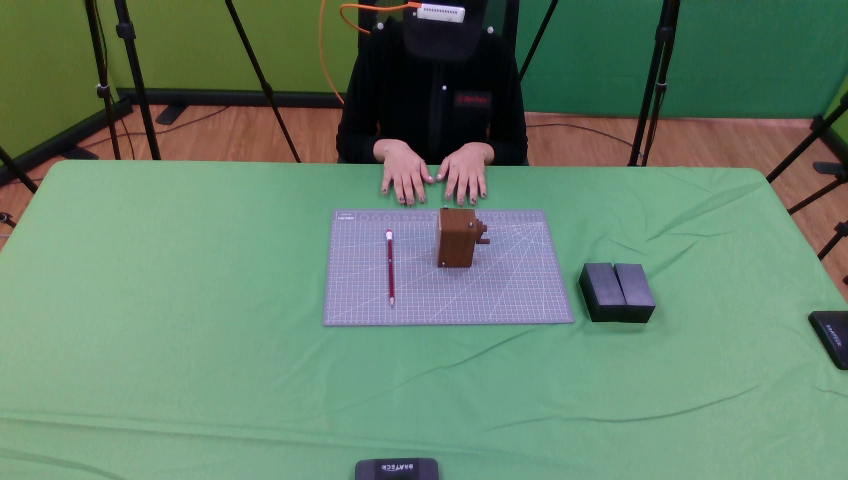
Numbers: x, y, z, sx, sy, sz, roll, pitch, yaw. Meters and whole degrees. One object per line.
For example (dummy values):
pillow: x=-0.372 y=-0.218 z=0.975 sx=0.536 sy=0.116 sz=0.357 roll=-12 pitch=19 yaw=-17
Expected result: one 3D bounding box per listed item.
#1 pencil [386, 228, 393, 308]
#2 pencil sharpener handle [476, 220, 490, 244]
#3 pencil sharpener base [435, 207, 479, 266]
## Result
pencil: x=-0.065 y=0.050 z=1.152 sx=0.012 sy=0.012 sz=0.193 roll=-1 pitch=48 yaw=-4
pencil sharpener handle: x=0.113 y=-0.014 z=1.140 sx=0.031 sy=0.068 sz=0.036 roll=1 pitch=56 yaw=-3
pencil sharpener base: x=0.061 y=-0.004 z=1.144 sx=0.077 sy=0.107 sz=0.061 roll=1 pitch=46 yaw=-4
